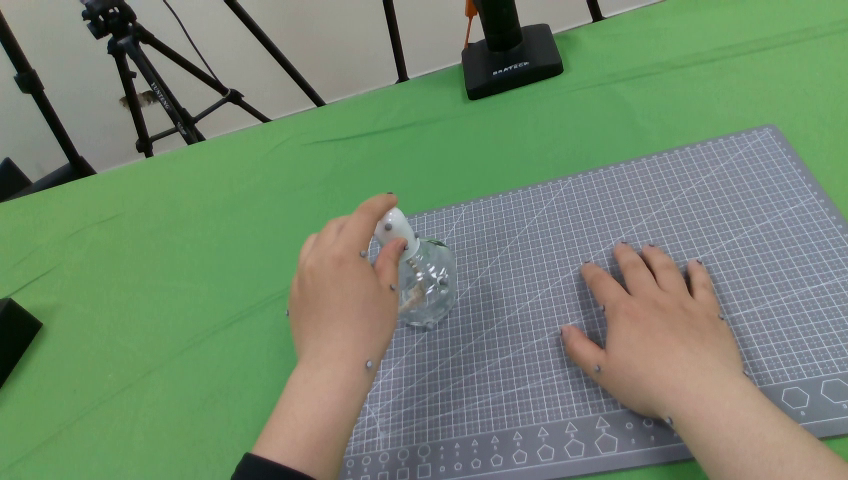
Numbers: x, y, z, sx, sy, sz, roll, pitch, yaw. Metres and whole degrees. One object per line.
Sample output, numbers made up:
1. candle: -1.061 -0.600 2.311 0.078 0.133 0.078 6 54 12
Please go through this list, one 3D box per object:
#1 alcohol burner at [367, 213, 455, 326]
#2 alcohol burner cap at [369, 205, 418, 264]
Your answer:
1. alcohol burner: -0.015 0.017 0.504 0.078 0.120 0.077 -11 44 11
2. alcohol burner cap: -0.025 -0.008 0.479 0.034 0.048 0.033 -9 49 11
